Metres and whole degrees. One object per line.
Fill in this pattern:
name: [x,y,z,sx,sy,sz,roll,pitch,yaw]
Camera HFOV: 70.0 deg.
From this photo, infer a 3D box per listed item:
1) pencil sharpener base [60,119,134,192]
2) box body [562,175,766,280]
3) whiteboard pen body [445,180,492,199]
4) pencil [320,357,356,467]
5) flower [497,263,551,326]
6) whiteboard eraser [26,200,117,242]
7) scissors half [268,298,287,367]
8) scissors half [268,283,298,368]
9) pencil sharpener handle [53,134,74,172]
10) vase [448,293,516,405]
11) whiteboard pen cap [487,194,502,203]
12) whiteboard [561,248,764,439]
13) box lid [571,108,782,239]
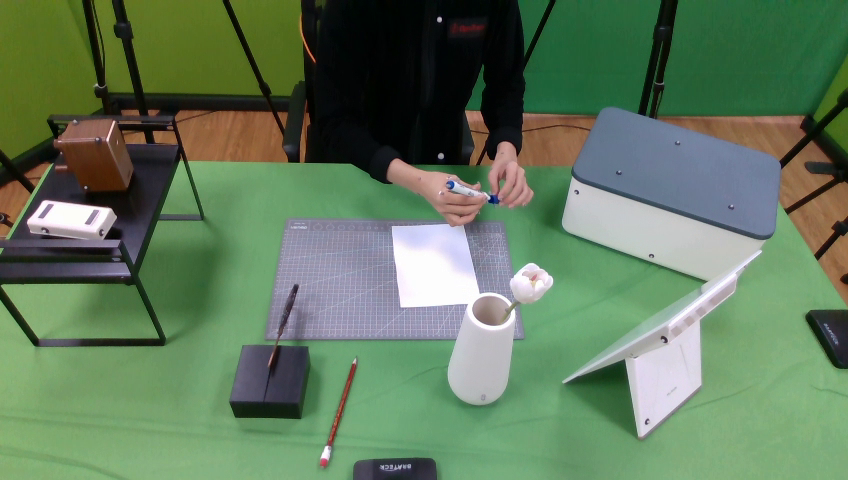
pencil sharpener base: [-0.528,-0.135,0.979,0.077,0.107,0.061,-4,47,-7]
box body: [0.486,-0.088,1.222,0.363,0.161,0.253,20,48,15]
whiteboard pen body: [0.080,-0.084,1.041,0.017,0.017,0.141,44,20,31]
pencil: [-0.130,0.261,0.946,0.012,0.012,0.193,10,45,5]
flower: [0.103,0.121,0.853,0.044,0.363,0.038,-1,64,-9]
whiteboard eraser: [-0.532,-0.026,0.919,0.113,0.042,0.055,7,45,3]
scissors half: [-0.239,0.150,0.997,0.013,0.040,0.174,24,24,-14]
scissors half: [-0.230,0.135,0.986,0.013,0.040,0.174,19,43,-11]
pencil sharpener handle: [-0.577,-0.138,0.961,0.031,0.068,0.036,-4,34,-7]
vase: [0.091,0.169,0.921,0.098,0.201,0.097,3,47,-3]
whiteboard pen cap: [0.128,-0.076,1.109,0.018,0.018,0.033,39,24,29]
whiteboard: [0.386,0.176,0.905,0.217,0.306,0.143,-26,72,-27]
box lid: [0.491,-0.139,1.168,0.370,0.015,0.262,20,49,15]
